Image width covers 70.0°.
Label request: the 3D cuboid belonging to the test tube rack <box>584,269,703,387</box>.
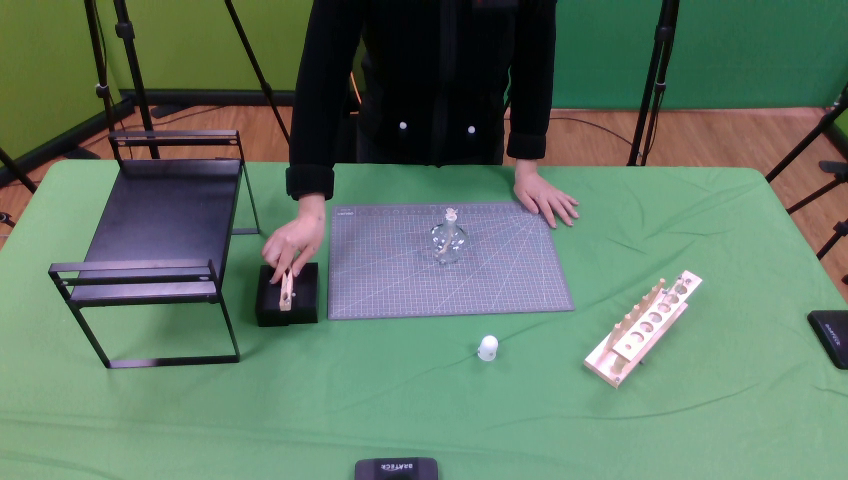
[{"bbox_3d":[0.380,0.139,1.046,0.066,0.085,0.242,37,54,27],"label":"test tube rack"}]

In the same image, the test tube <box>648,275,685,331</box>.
[{"bbox_3d":[0.401,0.109,1.007,0.017,0.151,0.017,1,50,0],"label":"test tube"}]

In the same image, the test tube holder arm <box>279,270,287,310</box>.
[{"bbox_3d":[-0.236,0.083,1.024,0.010,0.015,0.087,-6,40,-5],"label":"test tube holder arm"}]

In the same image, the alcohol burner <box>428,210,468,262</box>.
[{"bbox_3d":[0.048,-0.015,1.146,0.078,0.119,0.077,3,48,-3],"label":"alcohol burner"}]

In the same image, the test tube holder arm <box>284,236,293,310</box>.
[{"bbox_3d":[-0.237,0.054,1.059,0.013,0.015,0.177,-6,40,-5],"label":"test tube holder arm"}]

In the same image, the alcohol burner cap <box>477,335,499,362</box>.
[{"bbox_3d":[0.109,0.179,1.017,0.034,0.048,0.033,4,50,-4],"label":"alcohol burner cap"}]
